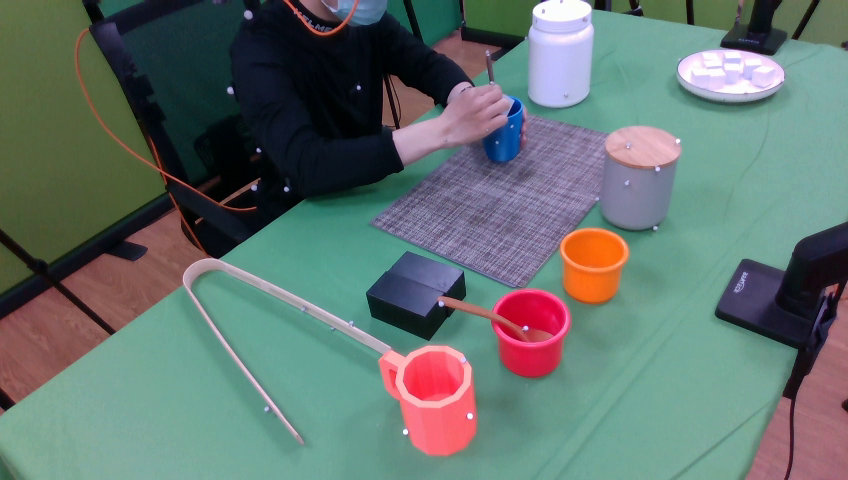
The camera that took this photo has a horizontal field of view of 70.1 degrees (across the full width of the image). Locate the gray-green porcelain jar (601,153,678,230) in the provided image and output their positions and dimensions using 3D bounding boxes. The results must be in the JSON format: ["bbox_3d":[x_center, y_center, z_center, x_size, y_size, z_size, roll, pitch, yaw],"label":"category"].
[{"bbox_3d":[0.334,-0.087,0.949,0.106,0.127,0.105,-4,40,4],"label":"gray-green porcelain jar"}]

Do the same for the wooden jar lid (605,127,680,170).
[{"bbox_3d":[0.327,-0.134,0.909,0.108,0.021,0.108,-2,43,2],"label":"wooden jar lid"}]

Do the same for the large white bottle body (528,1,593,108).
[{"bbox_3d":[0.283,-0.386,1.259,0.130,0.185,0.130,-5,41,4],"label":"large white bottle body"}]

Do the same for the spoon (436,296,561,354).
[{"bbox_3d":[0.095,0.102,0.750,0.195,0.021,0.041,28,31,-28],"label":"spoon"}]

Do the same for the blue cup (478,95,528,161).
[{"bbox_3d":[0.145,-0.206,1.131,0.092,0.100,0.092,-4,38,4],"label":"blue cup"}]

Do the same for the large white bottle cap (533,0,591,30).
[{"bbox_3d":[0.274,-0.449,1.204,0.115,0.018,0.114,-4,41,4],"label":"large white bottle cap"}]

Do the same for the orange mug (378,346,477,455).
[{"bbox_3d":[0.002,0.179,0.708,0.125,0.101,0.083,25,50,27],"label":"orange mug"}]

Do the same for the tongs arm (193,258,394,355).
[{"bbox_3d":[-0.204,0.099,0.881,0.382,0.027,0.051,23,55,32],"label":"tongs arm"}]

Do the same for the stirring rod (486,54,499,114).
[{"bbox_3d":[0.126,-0.243,1.070,0.006,0.177,0.014,1,39,22],"label":"stirring rod"}]

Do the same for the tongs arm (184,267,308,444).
[{"bbox_3d":[-0.259,0.147,0.843,0.028,0.028,0.384,-37,48,-18],"label":"tongs arm"}]

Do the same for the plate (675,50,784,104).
[{"bbox_3d":[0.632,-0.336,1.262,0.207,0.039,0.206,-4,41,4],"label":"plate"}]
